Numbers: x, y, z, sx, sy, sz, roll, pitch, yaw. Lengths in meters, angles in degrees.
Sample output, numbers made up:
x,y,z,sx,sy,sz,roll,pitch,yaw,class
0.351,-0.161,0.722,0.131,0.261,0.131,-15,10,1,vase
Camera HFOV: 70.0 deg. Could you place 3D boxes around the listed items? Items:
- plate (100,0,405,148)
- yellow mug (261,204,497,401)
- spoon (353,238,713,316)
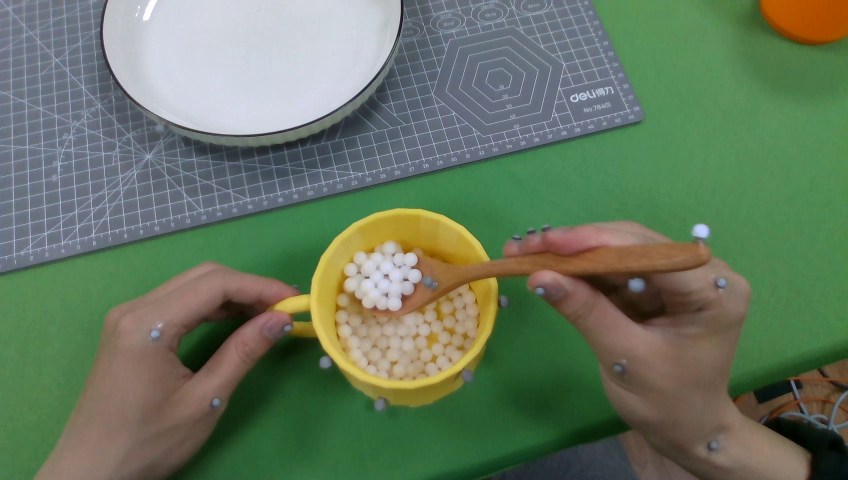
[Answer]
x,y,z,sx,sy,sz,roll,pitch,yaw,class
-0.116,-0.152,0.432,0.208,0.039,0.206,0,68,0,plate
-0.026,0.039,0.345,0.131,0.064,0.099,-5,68,-2,yellow mug
0.036,0.015,0.292,0.193,0.022,0.041,-9,54,43,spoon
